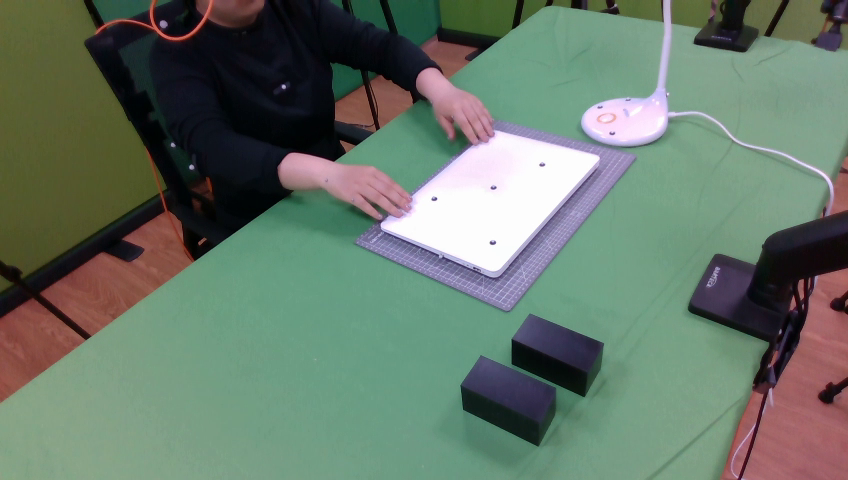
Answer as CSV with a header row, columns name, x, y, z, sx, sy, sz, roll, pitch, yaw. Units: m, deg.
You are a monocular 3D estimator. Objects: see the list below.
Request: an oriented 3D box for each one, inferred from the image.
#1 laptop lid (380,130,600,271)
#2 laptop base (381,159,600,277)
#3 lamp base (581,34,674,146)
name,x,y,z,sx,sy,sz,roll,pitch,yaw
laptop lid,0.119,-0.087,1.036,0.239,0.013,0.358,23,48,33
laptop base,0.122,-0.077,1.043,0.233,0.023,0.355,20,47,33
lamp base,0.392,-0.291,1.129,0.180,0.181,0.159,-11,41,-8
